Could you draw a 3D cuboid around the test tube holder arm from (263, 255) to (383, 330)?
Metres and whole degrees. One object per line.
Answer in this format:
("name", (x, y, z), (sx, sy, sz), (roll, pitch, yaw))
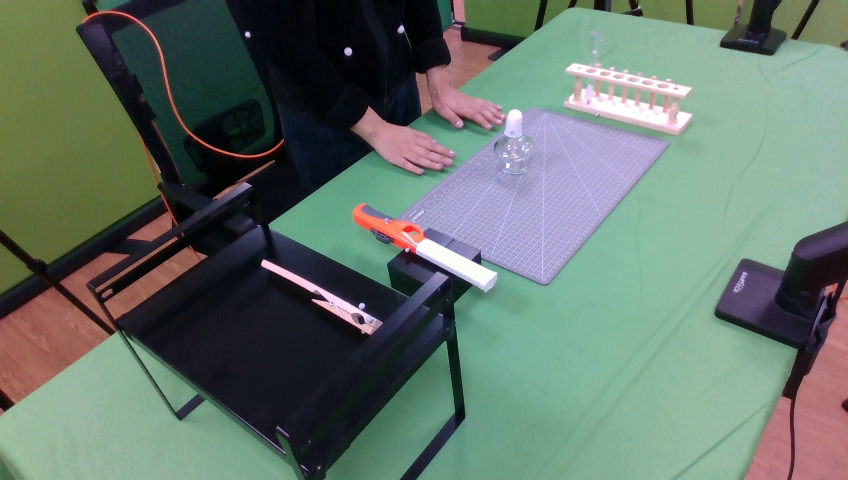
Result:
("test tube holder arm", (-0.113, 0.054, 0.647), (0.177, 0.015, 0.013), (26, 80, 33))

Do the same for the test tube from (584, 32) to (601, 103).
("test tube", (0.333, -0.338, 1.199), (0.017, 0.151, 0.017), (-3, 45, 3))

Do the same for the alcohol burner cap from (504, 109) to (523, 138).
("alcohol burner cap", (0.159, -0.206, 1.063), (0.034, 0.048, 0.033), (0, 41, 1))

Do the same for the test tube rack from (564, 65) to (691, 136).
("test tube rack", (0.404, -0.288, 1.204), (0.240, 0.085, 0.067), (24, 49, 32))

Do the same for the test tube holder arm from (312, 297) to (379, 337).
("test tube holder arm", (-0.082, 0.075, 0.622), (0.087, 0.015, 0.010), (27, 80, 33))

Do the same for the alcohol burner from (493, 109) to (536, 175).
("alcohol burner", (0.162, -0.179, 1.087), (0.078, 0.119, 0.077), (-5, 38, 5))

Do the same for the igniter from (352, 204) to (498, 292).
("igniter", (-0.009, 0.005, 0.895), (0.274, 0.025, 0.057), (27, 48, 32))
